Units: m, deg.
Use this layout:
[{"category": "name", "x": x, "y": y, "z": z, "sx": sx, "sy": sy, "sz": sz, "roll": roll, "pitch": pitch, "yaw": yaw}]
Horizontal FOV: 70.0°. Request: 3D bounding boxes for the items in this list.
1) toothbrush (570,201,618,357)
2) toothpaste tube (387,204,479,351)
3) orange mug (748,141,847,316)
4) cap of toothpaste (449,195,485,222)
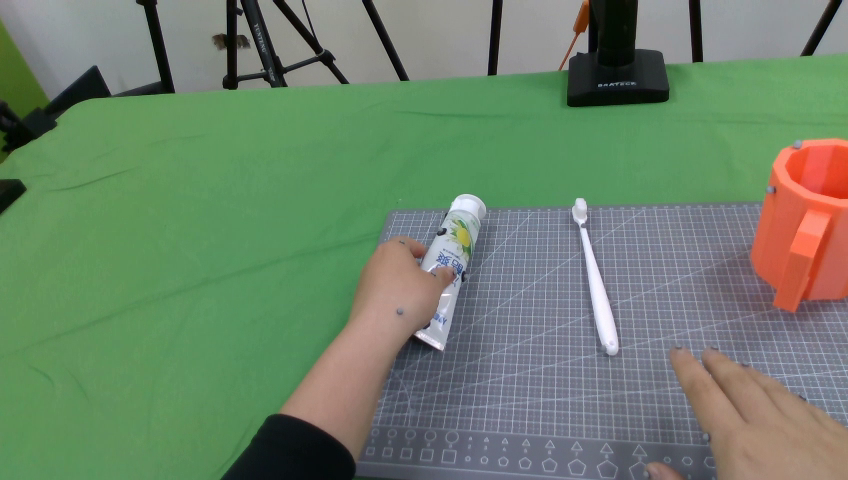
[{"category": "toothbrush", "x": 0.148, "y": 0.026, "z": 0.529, "sx": 0.014, "sy": 0.017, "sz": 0.180, "roll": 7, "pitch": 43, "yaw": -3}, {"category": "toothpaste tube", "x": 0.017, "y": 0.023, "z": 0.549, "sx": 0.055, "sy": 0.034, "sz": 0.164, "roll": 28, "pitch": 47, "yaw": -4}, {"category": "orange mug", "x": 0.299, "y": -0.004, "z": 0.464, "sx": 0.083, "sy": 0.102, "sz": 0.126, "roll": 22, "pitch": 46, "yaw": 33}, {"category": "cap of toothpaste", "x": 0.043, "y": -0.029, "z": 0.601, "sx": 0.037, "sy": 0.038, "sz": 0.011, "roll": 6, "pitch": 45, "yaw": 19}]
